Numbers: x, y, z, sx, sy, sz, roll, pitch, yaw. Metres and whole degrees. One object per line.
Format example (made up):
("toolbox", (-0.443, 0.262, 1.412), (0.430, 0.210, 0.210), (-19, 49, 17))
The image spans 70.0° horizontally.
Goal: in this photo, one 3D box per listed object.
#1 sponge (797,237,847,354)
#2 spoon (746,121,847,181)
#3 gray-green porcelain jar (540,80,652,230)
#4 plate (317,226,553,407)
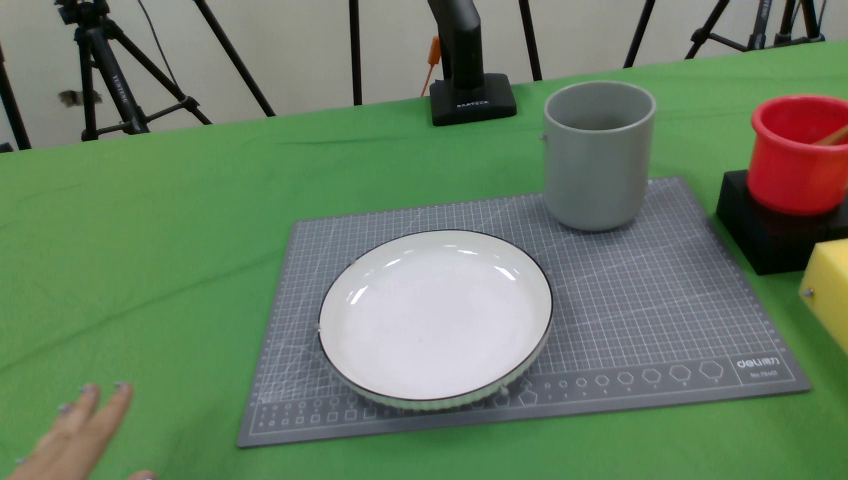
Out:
("sponge", (0.392, 0.077, 0.438), (0.118, 0.061, 0.204), (-10, 39, 0))
("spoon", (0.368, -0.099, 0.510), (0.194, 0.022, 0.041), (-36, 17, 46))
("gray-green porcelain jar", (0.173, -0.082, 0.619), (0.106, 0.128, 0.105), (-6, 40, 5))
("plate", (0.010, 0.066, 0.544), (0.207, 0.039, 0.205), (-6, 39, 5))
